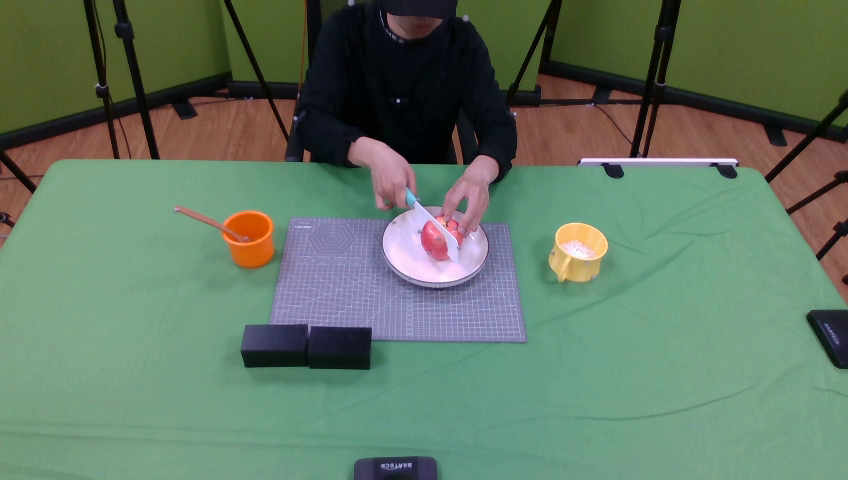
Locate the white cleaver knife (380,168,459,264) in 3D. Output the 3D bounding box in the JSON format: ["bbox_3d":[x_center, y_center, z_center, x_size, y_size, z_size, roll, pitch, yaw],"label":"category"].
[{"bbox_3d":[-0.014,-0.050,1.174,0.021,0.066,0.284,-20,45,-24],"label":"white cleaver knife"}]

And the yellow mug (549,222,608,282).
[{"bbox_3d":[0.287,0.031,1.159,0.099,0.064,0.130,27,51,21],"label":"yellow mug"}]

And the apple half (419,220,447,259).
[{"bbox_3d":[0.010,0.007,1.140,0.033,0.081,0.081,-23,52,-24],"label":"apple half"}]

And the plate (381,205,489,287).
[{"bbox_3d":[0.021,0.015,1.170,0.209,0.038,0.208,2,46,-2],"label":"plate"}]

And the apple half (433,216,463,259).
[{"bbox_3d":[0.045,-0.007,1.157,0.053,0.075,0.080,-18,44,-28],"label":"apple half"}]

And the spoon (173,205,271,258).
[{"bbox_3d":[-0.362,-0.017,1.098,0.021,0.195,0.041,-33,42,27],"label":"spoon"}]
